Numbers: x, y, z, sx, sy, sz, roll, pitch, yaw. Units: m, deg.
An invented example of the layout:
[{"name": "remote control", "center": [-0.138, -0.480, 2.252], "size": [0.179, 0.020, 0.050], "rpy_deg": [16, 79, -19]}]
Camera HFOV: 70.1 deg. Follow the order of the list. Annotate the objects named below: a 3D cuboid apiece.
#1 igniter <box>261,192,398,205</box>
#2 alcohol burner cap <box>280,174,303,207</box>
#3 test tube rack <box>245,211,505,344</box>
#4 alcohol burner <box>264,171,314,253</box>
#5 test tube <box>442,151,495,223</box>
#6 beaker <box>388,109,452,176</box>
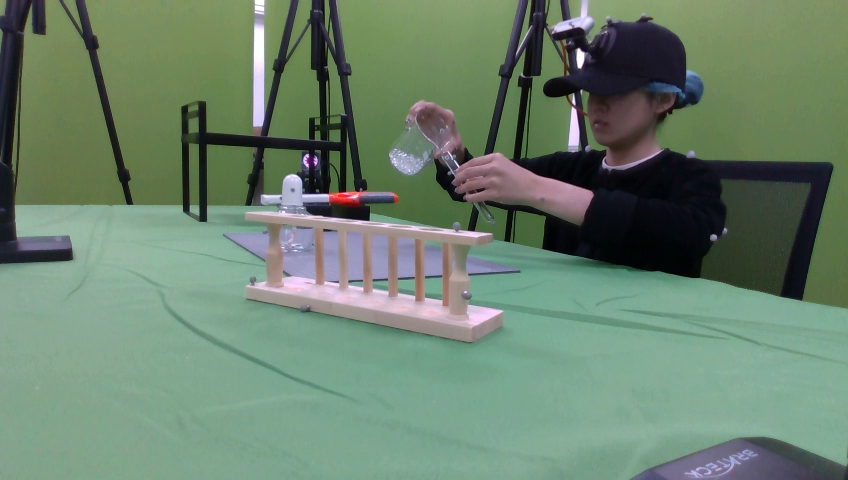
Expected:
[{"name": "igniter", "center": [-0.185, -0.083, 1.217], "size": [0.278, 0.025, 0.057], "rpy_deg": [-2, 12, -25]}, {"name": "alcohol burner cap", "center": [-0.194, -0.072, 0.884], "size": [0.034, 0.048, 0.034], "rpy_deg": [0, 5, 0]}, {"name": "test tube rack", "center": [-0.049, 0.025, 0.547], "size": [0.241, 0.085, 0.067], "rpy_deg": [7, 8, 29]}, {"name": "alcohol burner", "center": [-0.194, -0.042, 0.888], "size": [0.078, 0.119, 0.078], "rpy_deg": [3, 5, 0]}, {"name": "test tube", "center": [0.069, -0.085, 0.962], "size": [0.017, 0.017, 0.149], "rpy_deg": [-5, 54, -44]}, {"name": "beaker", "center": [-0.009, -0.163, 1.045], "size": [0.074, 0.083, 0.100], "rpy_deg": [-6, -25, -42]}]
